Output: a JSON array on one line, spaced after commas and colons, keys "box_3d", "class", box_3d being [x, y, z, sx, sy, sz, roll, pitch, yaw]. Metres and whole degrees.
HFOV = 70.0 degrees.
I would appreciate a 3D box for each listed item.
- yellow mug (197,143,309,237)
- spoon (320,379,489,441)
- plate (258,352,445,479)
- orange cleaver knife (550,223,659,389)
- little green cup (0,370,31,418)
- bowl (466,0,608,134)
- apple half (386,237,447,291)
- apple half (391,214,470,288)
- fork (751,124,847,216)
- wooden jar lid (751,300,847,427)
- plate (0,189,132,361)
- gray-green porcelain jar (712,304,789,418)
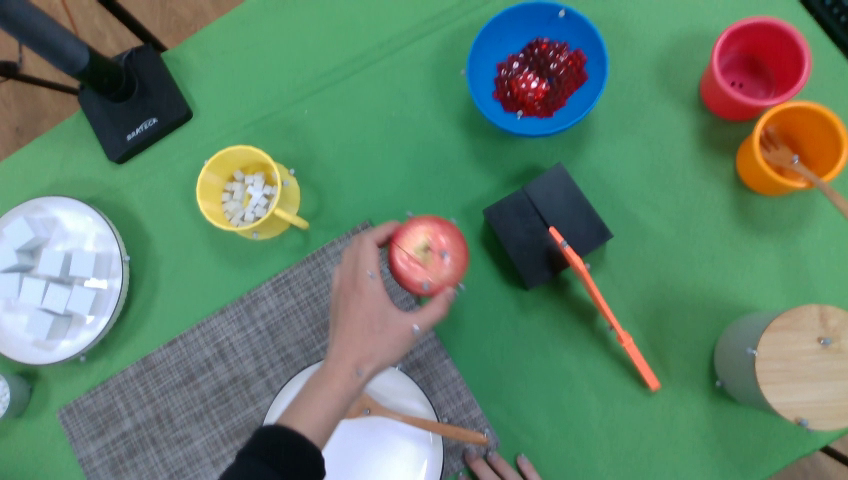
[{"box_3d": [-0.191, -0.050, 0.710, 0.130, 0.064, 0.100, 29, 87, 9], "class": "yellow mug"}, {"box_3d": [-0.025, 0.190, 0.655, 0.193, 0.022, 0.041, 10, 78, 20], "class": "spoon"}, {"box_3d": [-0.079, 0.228, 0.671, 0.209, 0.038, 0.208, -1, 83, 7], "class": "plate"}, {"box_3d": [0.188, 0.070, 0.633, 0.012, 0.076, 0.213, -33, 112, 6], "class": "orange cleaver knife"}, {"box_3d": [-0.514, 0.186, 0.735, 0.061, 0.039, 0.061, -1, 83, 6], "class": "little green cup"}, {"box_3d": [0.124, -0.183, 0.679, 0.151, 0.077, 0.151, -1, 83, 7], "class": "bowl"}, {"box_3d": [-0.008, 0.029, 0.598, 0.081, 0.081, 0.033, 34, 97, 11], "class": "apple half"}, {"box_3d": [0.014, 0.004, 0.599, 0.080, 0.075, 0.053, 37, 89, 18], "class": "apple half"}, {"box_3d": [0.382, -0.059, 0.593, 0.028, 0.019, 0.205, -9, 38, 0], "class": "fork"}, {"box_3d": [0.340, 0.106, 0.528, 0.108, 0.021, 0.108, -1, 85, 6], "class": "wooden jar lid"}, {"box_3d": [-0.452, 0.043, 0.746, 0.207, 0.039, 0.207, -1, 83, 7], "class": "plate"}, {"box_3d": [0.348, 0.116, 0.588, 0.106, 0.127, 0.105, -1, 82, 7], "class": "gray-green porcelain jar"}]
